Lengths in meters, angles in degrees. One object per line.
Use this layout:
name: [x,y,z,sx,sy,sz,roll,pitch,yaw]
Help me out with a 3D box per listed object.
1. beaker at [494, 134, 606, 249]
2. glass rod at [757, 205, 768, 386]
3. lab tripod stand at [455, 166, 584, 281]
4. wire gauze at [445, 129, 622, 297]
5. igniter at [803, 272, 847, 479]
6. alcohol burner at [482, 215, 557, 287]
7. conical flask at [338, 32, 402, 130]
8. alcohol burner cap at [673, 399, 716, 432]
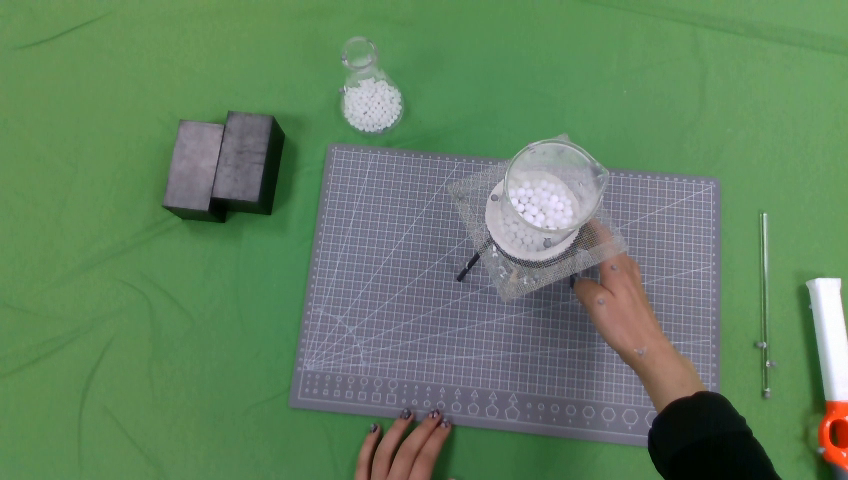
beaker: [0.098,-0.035,0.500,0.084,0.100,0.073,-15,79,-2]
glass rod: [0.368,0.057,0.659,0.008,0.008,0.199,5,78,2]
lab tripod stand: [0.099,-0.007,0.610,0.148,0.132,0.148,0,79,2]
wire gauze: [0.099,-0.026,0.547,0.125,0.011,0.121,-23,82,-5]
igniter: [0.427,0.169,0.624,0.057,0.025,0.275,2,78,-9]
alcohol burner: [0.100,0.007,0.617,0.078,0.119,0.077,0,76,0]
conical flask: [-0.065,-0.176,0.657,0.075,0.122,0.075,0,77,1]
alcohol burner cap: [0.277,0.179,0.614,0.034,0.048,0.033,0,77,1]
